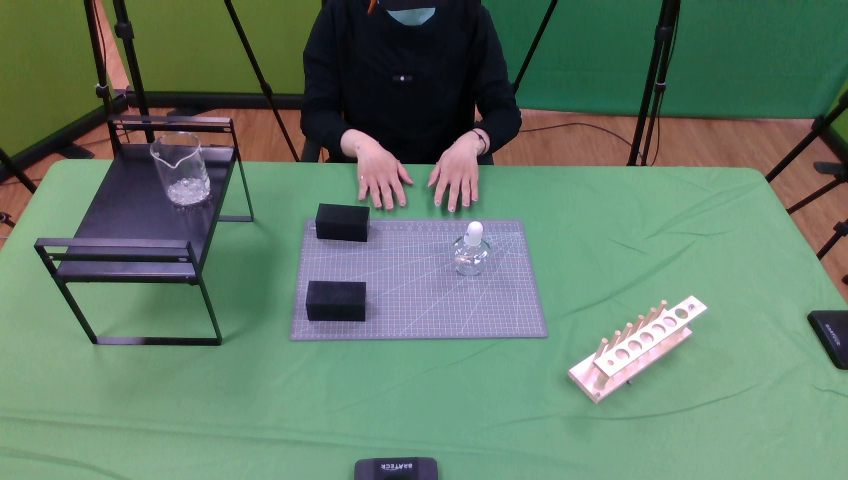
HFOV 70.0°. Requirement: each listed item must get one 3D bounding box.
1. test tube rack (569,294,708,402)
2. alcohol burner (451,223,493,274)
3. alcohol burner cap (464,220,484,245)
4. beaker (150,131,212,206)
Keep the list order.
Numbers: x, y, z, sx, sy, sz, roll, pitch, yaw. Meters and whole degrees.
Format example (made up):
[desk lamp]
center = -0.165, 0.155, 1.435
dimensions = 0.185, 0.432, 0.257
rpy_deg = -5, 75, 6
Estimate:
[test tube rack]
center = 0.360, 0.167, 1.014
dimensions = 0.242, 0.085, 0.066
rpy_deg = -25, 52, -25
[alcohol burner]
center = 0.091, 0.008, 1.124
dimensions = 0.078, 0.120, 0.077
rpy_deg = 2, 48, -2
[alcohol burner cap]
center = 0.092, -0.016, 1.098
dimensions = 0.034, 0.048, 0.033
rpy_deg = 5, 50, -6
[beaker]
center = -0.385, -0.110, 0.969
dimensions = 0.074, 0.101, 0.083
rpy_deg = -6, 48, -9
